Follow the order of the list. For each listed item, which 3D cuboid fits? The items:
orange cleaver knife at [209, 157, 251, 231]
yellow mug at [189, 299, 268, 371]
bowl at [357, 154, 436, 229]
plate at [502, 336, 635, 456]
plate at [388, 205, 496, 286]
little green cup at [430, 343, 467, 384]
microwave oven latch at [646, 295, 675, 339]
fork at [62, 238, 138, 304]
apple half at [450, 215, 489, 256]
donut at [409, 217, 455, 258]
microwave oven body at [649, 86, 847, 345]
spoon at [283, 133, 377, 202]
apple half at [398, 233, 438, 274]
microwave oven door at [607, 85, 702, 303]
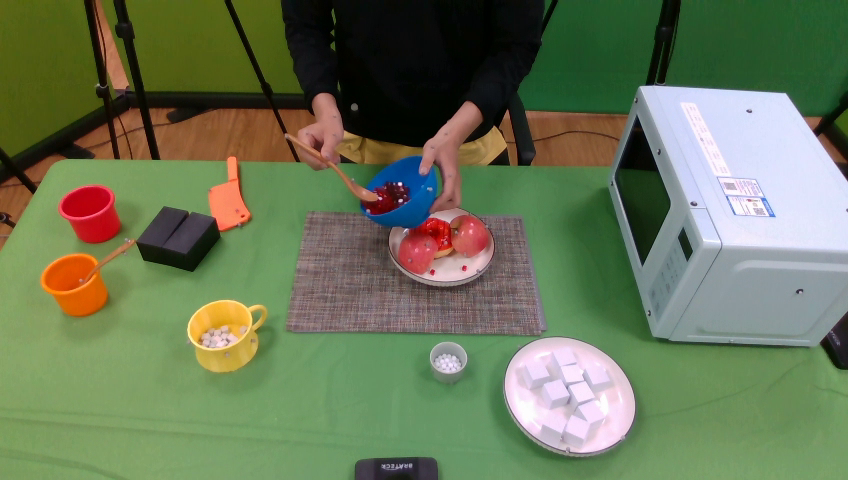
[{"bbox_3d":[-0.409,-0.099,1.266,0.077,0.012,0.210,-14,50,-10],"label":"orange cleaver knife"},{"bbox_3d":[-0.316,0.148,1.002,0.131,0.064,0.099,-33,56,-31],"label":"yellow mug"},{"bbox_3d":[-0.034,-0.073,1.079,0.151,0.077,0.150,-23,38,19],"label":"bowl"},{"bbox_3d":[0.225,0.248,0.964,0.208,0.039,0.206,2,46,-2],"label":"plate"},{"bbox_3d":[0.033,0.014,1.171,0.209,0.038,0.208,2,46,-2],"label":"plate"},{"bbox_3d":[0.039,0.203,0.994,0.061,0.039,0.061,2,46,-2],"label":"little green cup"},{"bbox_3d":[0.412,0.134,1.061,0.030,0.029,0.078,4,45,1],"label":"microwave oven latch"},{"bbox_3d":[-0.547,0.053,1.018,0.207,0.019,0.028,-36,41,23],"label":"fork"},{"bbox_3d":[0.092,-0.013,1.158,0.075,0.053,0.080,34,39,-28],"label":"apple half"},{"bbox_3d":[0.019,-0.006,1.174,0.099,0.048,0.098,3,43,-3],"label":"donut"},{"bbox_3d":[0.568,-0.053,1.118,0.326,0.261,0.439,2,45,-1],"label":"microwave oven body"},{"bbox_3d":[-0.159,-0.125,1.043,0.194,0.021,0.041,40,22,-22],"label":"spoon"},{"bbox_3d":[-0.016,0.022,1.123,0.081,0.033,0.081,-2,83,14],"label":"apple half"},{"bbox_3d":[0.423,-0.094,1.141,0.039,0.245,0.353,2,46,-1],"label":"microwave oven door"}]
